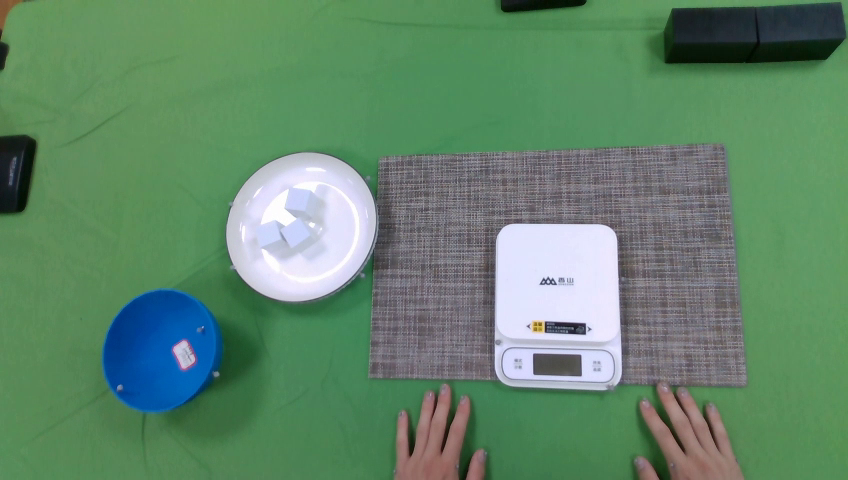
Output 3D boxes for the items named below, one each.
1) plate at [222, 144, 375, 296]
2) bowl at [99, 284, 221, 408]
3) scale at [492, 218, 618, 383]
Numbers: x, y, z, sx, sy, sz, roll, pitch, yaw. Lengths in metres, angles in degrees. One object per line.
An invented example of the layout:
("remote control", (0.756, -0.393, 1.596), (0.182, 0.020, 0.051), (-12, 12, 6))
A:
("plate", (-0.165, -0.025, 0.809), (0.207, 0.039, 0.206), (-2, 77, 8))
("bowl", (-0.320, 0.136, 0.772), (0.151, 0.077, 0.150), (-2, 77, 8))
("scale", (0.158, 0.070, 0.739), (0.148, 0.032, 0.200), (0, 77, 9))
